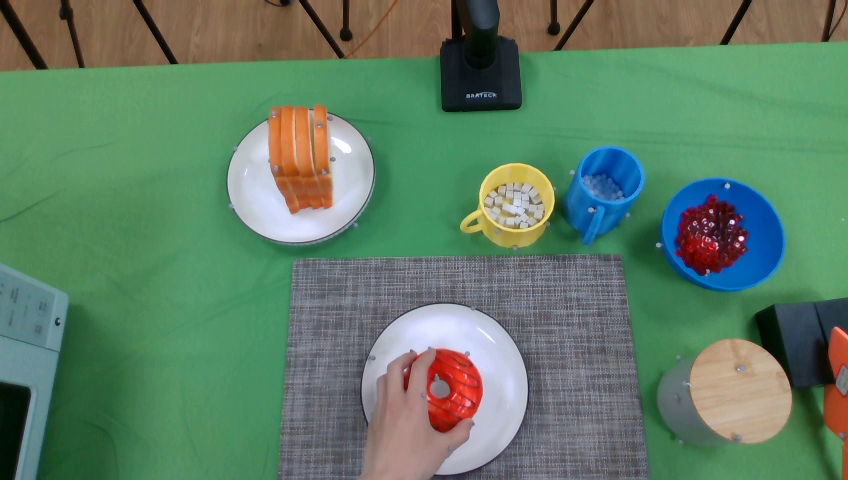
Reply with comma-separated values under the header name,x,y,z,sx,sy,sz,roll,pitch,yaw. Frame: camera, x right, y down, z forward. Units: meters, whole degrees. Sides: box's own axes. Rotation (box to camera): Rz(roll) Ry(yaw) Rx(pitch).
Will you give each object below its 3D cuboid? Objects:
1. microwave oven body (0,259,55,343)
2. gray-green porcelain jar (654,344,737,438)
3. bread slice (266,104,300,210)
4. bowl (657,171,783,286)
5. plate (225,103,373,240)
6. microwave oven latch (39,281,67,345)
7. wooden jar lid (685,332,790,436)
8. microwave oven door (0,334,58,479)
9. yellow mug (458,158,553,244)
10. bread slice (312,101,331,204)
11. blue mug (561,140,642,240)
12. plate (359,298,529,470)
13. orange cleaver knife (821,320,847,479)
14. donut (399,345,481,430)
name,x,y,z,sx,sy,sz,roll,pitch,yaw
microwave oven body,-0.637,0.232,0.639,0.326,0.262,0.438,-1,71,1
gray-green porcelain jar,0.333,0.174,0.703,0.106,0.127,0.105,0,71,2
bread slice,-0.186,-0.117,0.808,0.018,0.135,0.106,-4,67,-1
bowl,0.371,-0.005,0.788,0.151,0.077,0.150,-1,71,2
plate,-0.173,-0.095,0.859,0.207,0.039,0.206,0,71,2
microwave oven latch,-0.487,0.094,0.783,0.030,0.030,0.078,2,72,2
wooden jar lid,0.330,0.153,0.644,0.108,0.021,0.107,0,72,0
microwave oven door,-0.491,0.267,0.617,0.039,0.245,0.353,-2,71,2
yellow mug,0.106,-0.046,0.818,0.131,0.064,0.099,-23,71,-5
bread slice,-0.136,-0.119,0.808,0.019,0.132,0.104,-3,72,-7
blue mug,0.227,-0.056,0.797,0.082,0.106,0.116,17,72,8
plate,0.025,0.176,0.755,0.209,0.038,0.207,0,71,2
orange cleaver knife,0.491,0.201,0.712,0.012,0.077,0.212,-5,101,1
donut,0.019,0.172,0.712,0.099,0.048,0.098,-2,68,5
